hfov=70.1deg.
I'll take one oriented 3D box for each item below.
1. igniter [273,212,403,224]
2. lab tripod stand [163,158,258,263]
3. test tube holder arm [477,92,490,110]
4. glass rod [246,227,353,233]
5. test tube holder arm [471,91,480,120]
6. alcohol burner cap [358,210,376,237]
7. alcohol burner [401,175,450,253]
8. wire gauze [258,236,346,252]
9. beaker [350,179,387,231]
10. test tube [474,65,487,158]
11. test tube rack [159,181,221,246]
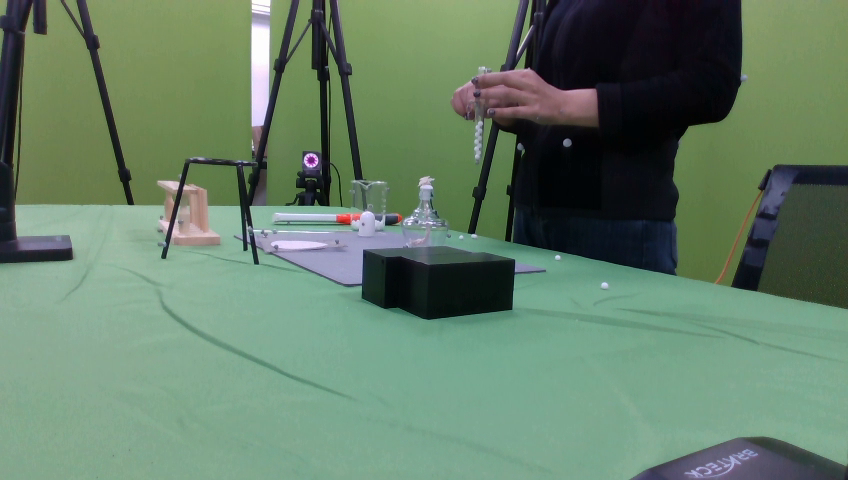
[{"bbox_3d":[-0.179,-0.048,1.290,0.278,0.025,0.057,-1,-2,-24],"label":"igniter"},{"bbox_3d":[-0.265,-0.041,0.802,0.148,0.131,0.148,4,6,0],"label":"lab tripod stand"},{"bbox_3d":[0.097,-0.231,1.010,0.010,0.015,0.087,5,1,-6],"label":"test tube holder arm"},{"bbox_3d":[-0.224,-0.017,1.109,0.201,0.008,0.008,1,7,-27],"label":"glass rod"},{"bbox_3d":[0.090,-0.232,1.055,0.013,0.015,0.178,6,1,1],"label":"test tube holder arm"},{"bbox_3d":[-0.104,-0.030,1.098,0.034,0.048,0.034,3,7,0],"label":"alcohol burner cap"},{"bbox_3d":[0.003,-0.040,0.933,0.078,0.119,0.078,2,9,0],"label":"alcohol burner"},{"bbox_3d":[-0.189,0.005,0.931,0.122,0.011,0.124,1,7,-21],"label":"wire gauze"},{"bbox_3d":[-0.111,-0.069,1.204,0.074,0.100,0.084,2,8,0],"label":"beaker"},{"bbox_3d":[0.092,-0.210,0.990,0.017,0.150,0.017,2,5,0],"label":"test tube"},{"bbox_3d":[-0.395,-0.050,1.010,0.067,0.085,0.241,-2,8,-28],"label":"test tube rack"}]
